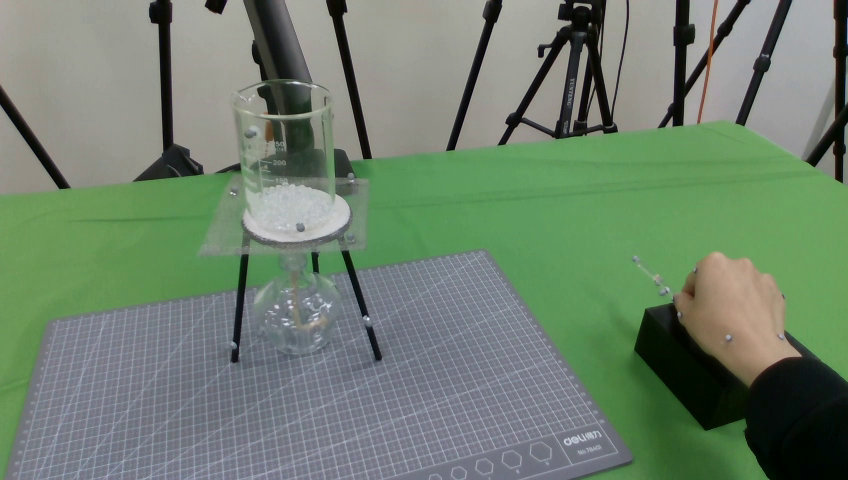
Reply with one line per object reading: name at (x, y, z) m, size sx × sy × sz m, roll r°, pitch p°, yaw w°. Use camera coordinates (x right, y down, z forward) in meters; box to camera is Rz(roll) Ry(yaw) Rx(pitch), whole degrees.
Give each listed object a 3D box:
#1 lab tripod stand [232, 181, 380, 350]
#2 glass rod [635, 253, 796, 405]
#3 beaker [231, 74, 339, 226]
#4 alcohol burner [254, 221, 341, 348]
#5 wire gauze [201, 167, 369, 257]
lab tripod stand at (-0.102, 0.026, 0.534) m, size 0.148 × 0.132 × 0.147 m, roll 3°, pitch 34°, yaw -2°
glass rod at (0.242, 0.068, 0.525) m, size 0.008 × 0.008 × 0.197 m, roll -10°, pitch 37°, yaw -16°
beaker at (-0.107, -0.069, 0.469) m, size 0.083 × 0.101 × 0.074 m, roll 21°, pitch 38°, yaw 23°
alcohol burner at (-0.114, 0.036, 0.537) m, size 0.078 × 0.120 × 0.077 m, roll 1°, pitch 33°, yaw 0°
wire gauze at (-0.107, -0.028, 0.496) m, size 0.121 × 0.011 × 0.124 m, roll 0°, pitch 37°, yaw -4°
